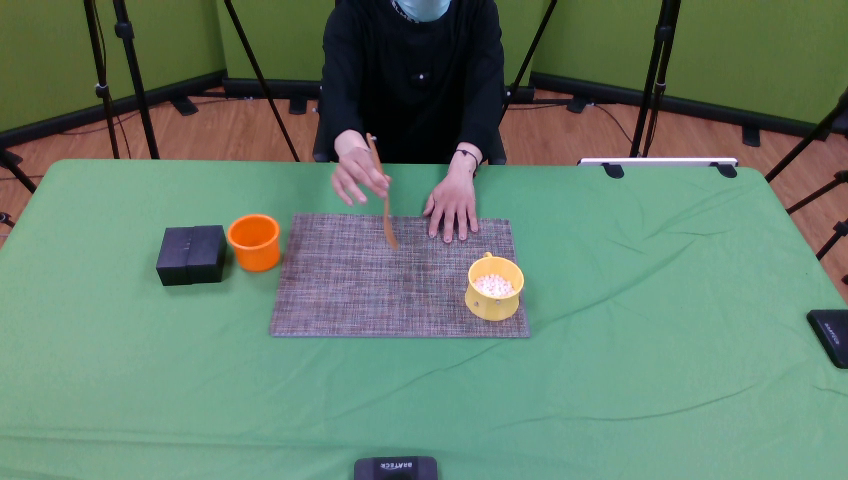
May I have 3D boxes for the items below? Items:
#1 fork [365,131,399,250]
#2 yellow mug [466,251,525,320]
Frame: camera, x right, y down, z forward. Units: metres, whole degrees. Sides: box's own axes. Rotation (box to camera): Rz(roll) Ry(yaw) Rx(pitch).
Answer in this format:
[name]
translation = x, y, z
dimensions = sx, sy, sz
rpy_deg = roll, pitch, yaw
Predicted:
[fork]
translation = -0.070, -0.080, 1.015
dimensions = 0.018, 0.208, 0.028
rpy_deg = -3, 21, 18
[yellow mug]
translation = 0.125, 0.074, 1.096
dimensions = 0.100, 0.064, 0.130
rpy_deg = -4, 45, -7
